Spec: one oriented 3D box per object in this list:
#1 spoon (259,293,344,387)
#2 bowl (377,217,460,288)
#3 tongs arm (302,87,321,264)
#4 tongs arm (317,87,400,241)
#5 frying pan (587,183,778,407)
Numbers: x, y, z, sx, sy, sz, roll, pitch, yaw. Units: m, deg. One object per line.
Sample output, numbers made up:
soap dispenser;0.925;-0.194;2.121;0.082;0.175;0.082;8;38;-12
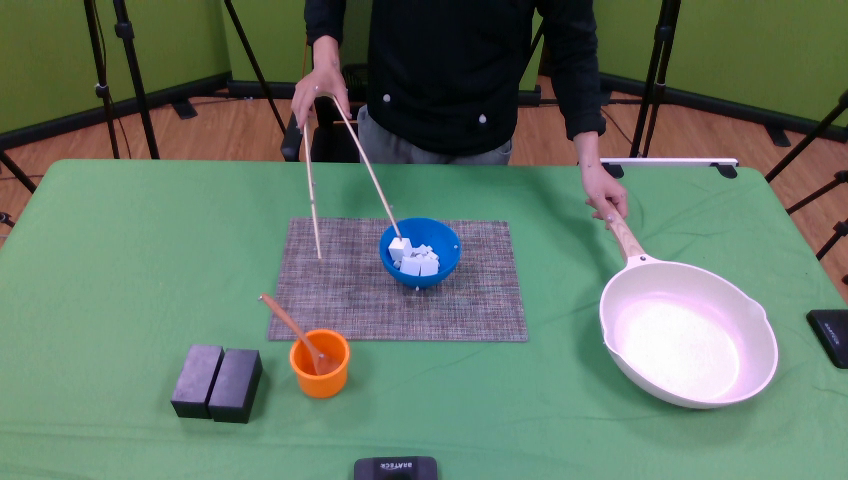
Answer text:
spoon;-0.191;0.155;0.947;0.021;0.194;0.041;-12;28;51
bowl;-0.012;0.036;1.118;0.151;0.077;0.150;2;46;-2
tongs arm;-0.198;-0.131;1.129;0.051;0.026;0.382;-14;61;2
tongs arm;-0.124;-0.154;1.132;0.028;0.028;0.385;-27;62;-1
frying pan;0.412;0.079;1.097;0.307;0.103;0.484;-9;56;-14
